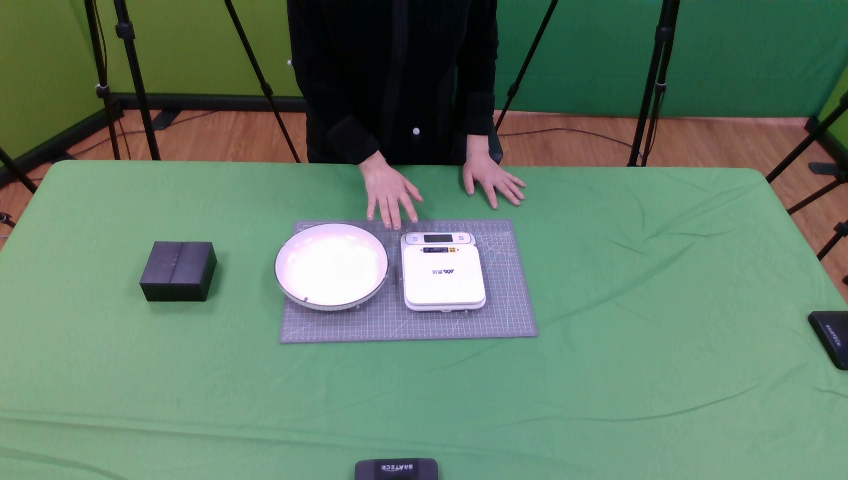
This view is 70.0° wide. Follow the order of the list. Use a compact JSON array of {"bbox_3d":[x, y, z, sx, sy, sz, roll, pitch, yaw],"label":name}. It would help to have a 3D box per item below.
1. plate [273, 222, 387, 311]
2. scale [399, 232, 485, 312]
[{"bbox_3d":[-0.172,0.051,1.120,0.209,0.038,0.208,2,46,-2],"label":"plate"},{"bbox_3d":[0.031,0.050,1.141,0.149,0.032,0.199,-1,46,-5],"label":"scale"}]
